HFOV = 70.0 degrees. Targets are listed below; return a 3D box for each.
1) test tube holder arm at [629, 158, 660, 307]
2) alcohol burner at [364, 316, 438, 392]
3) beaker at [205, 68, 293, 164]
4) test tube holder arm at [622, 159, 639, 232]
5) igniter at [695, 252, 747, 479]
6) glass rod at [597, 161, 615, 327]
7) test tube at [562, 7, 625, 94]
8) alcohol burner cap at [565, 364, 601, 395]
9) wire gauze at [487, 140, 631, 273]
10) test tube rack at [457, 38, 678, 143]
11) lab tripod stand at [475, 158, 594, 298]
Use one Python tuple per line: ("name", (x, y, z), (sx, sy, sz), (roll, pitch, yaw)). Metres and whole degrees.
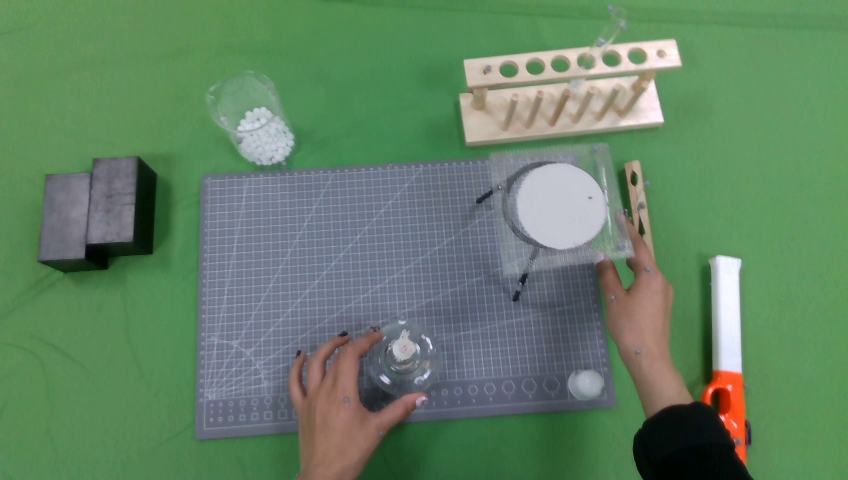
("test tube holder arm", (0.255, -0.011, 0.703), (0.013, 0.015, 0.177), (-14, 73, 31))
("alcohol burner", (-0.024, 0.113, 0.612), (0.078, 0.120, 0.077), (0, 72, 0))
("beaker", (-0.194, -0.136, 0.687), (0.084, 0.101, 0.073), (14, 74, 4))
("test tube holder arm", (0.247, -0.053, 0.717), (0.010, 0.015, 0.087), (-13, 73, 31))
("igniter", (0.322, 0.148, 0.659), (0.057, 0.025, 0.275), (9, 74, -9))
("glass rod", (0.212, 0.002, 0.706), (0.008, 0.008, 0.198), (-1, 78, -2))
("test tube", (0.184, -0.204, 0.671), (0.017, 0.151, 0.017), (2, 73, -7))
("alcohol burner cap", (0.171, 0.147, 0.644), (0.034, 0.048, 0.033), (0, 74, -1))
("wire gauze", (0.125, -0.035, 0.576), (0.121, 0.011, 0.124), (-6, 74, -1))
("test tube rack", (0.165, -0.174, 0.713), (0.242, 0.085, 0.066), (-6, 74, -3))
("lab tripod stand", (0.114, -0.021, 0.642), (0.148, 0.132, 0.147), (0, 75, 1))
